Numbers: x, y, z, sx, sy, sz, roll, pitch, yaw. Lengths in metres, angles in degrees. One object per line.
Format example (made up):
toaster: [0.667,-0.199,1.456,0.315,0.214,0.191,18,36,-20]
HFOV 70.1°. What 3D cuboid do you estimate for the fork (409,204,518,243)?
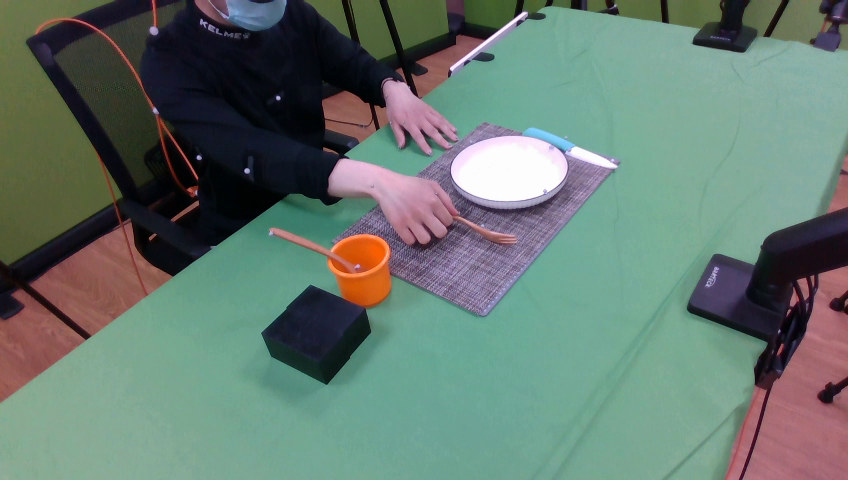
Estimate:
fork: [0.060,-0.029,0.986,0.205,0.028,0.018,23,76,31]

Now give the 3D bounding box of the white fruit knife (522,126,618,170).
white fruit knife: [0.272,-0.172,1.132,0.205,0.016,0.027,32,82,34]

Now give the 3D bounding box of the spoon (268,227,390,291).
spoon: [-0.132,0.025,0.862,0.021,0.195,0.041,-40,31,32]

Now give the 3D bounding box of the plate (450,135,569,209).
plate: [0.149,-0.117,1.065,0.209,0.038,0.208,-4,41,4]
